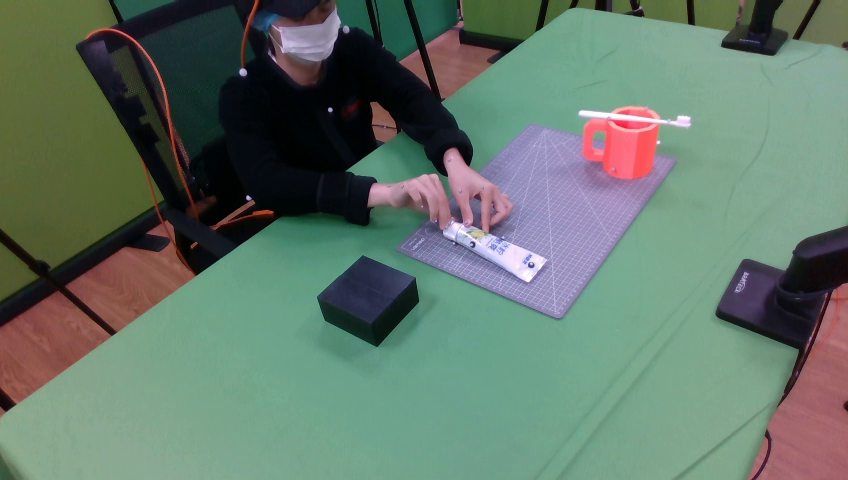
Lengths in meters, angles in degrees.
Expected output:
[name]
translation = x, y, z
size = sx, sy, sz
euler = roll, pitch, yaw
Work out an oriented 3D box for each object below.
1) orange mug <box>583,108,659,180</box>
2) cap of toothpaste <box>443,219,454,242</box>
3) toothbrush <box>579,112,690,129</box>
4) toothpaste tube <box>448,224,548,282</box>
[orange mug]
translation = 0.343, -0.171, 1.061
size = 0.126, 0.101, 0.083
euler = 10, 43, 15
[cap of toothpaste]
translation = 0.042, -0.016, 0.973
size = 0.011, 0.037, 0.037
euler = 9, 42, 27
[toothbrush]
translation = 0.352, -0.205, 1.019
size = 0.181, 0.017, 0.014
euler = 10, 47, 21
[toothpaste tube]
translation = 0.106, 0.015, 0.933
size = 0.164, 0.035, 0.055
euler = 25, 59, 29
